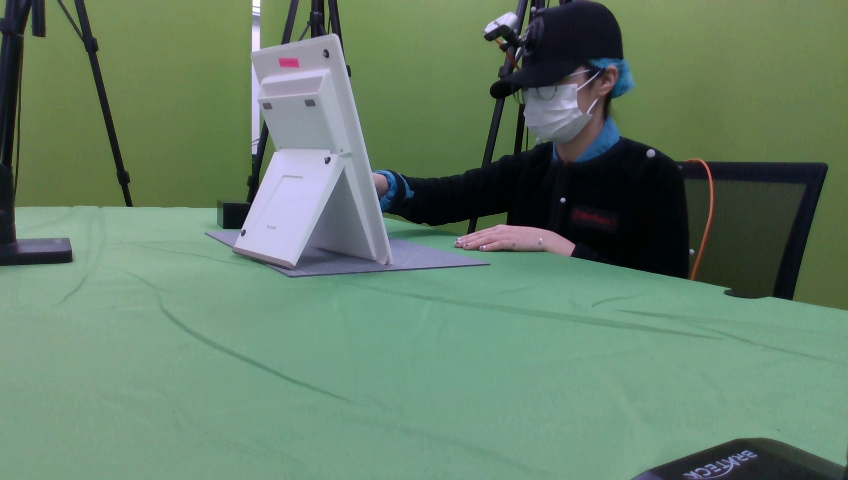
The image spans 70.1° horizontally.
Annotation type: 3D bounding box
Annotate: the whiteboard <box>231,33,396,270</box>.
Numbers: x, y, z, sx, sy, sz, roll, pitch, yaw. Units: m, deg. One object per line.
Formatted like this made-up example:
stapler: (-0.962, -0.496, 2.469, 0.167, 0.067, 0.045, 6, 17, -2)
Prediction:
whiteboard: (-0.193, -0.094, 0.805, 0.144, 0.305, 0.216, -29, 25, -35)

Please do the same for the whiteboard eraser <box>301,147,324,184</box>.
whiteboard eraser: (-0.185, -0.123, 1.006, 0.019, 0.041, 0.101, -44, -3, -18)
